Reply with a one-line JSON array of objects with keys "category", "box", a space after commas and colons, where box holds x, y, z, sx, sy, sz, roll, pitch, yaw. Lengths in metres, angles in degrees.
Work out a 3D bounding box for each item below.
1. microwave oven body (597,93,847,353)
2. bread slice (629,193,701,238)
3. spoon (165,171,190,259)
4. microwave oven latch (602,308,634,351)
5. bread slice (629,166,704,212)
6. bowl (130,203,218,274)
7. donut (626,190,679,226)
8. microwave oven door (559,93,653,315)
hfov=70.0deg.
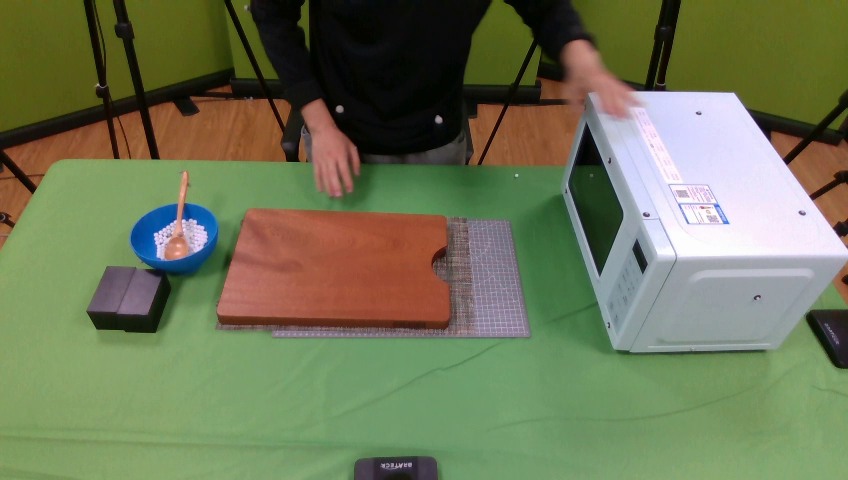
[{"category": "microwave oven body", "box": [0.475, -0.041, 1.110, 0.326, 0.261, 0.438, -1, 45, -4]}, {"category": "bread slice", "box": [0.475, -0.049, 1.193, 0.131, 0.019, 0.104, 11, 44, 12]}, {"category": "spoon", "box": [-0.452, -0.046, 1.129, 0.041, 0.022, 0.193, -1, 69, -2]}, {"category": "microwave oven latch", "box": [0.332, 0.153, 1.044, 0.030, 0.029, 0.078, -1, 45, -4]}, {"category": "bread slice", "box": [0.458, -0.094, 1.139, 0.134, 0.018, 0.106, 6, 43, -17]}, {"category": "bowl", "box": [-0.450, 0.010, 1.116, 0.151, 0.077, 0.150, 3, 45, -2]}, {"category": "donut", "box": [0.442, -0.062, 1.172, 0.099, 0.048, 0.098, -6, 30, 4]}, {"category": "microwave oven door", "box": [0.327, -0.074, 1.123, 0.039, 0.245, 0.353, -1, 46, -5]}]
